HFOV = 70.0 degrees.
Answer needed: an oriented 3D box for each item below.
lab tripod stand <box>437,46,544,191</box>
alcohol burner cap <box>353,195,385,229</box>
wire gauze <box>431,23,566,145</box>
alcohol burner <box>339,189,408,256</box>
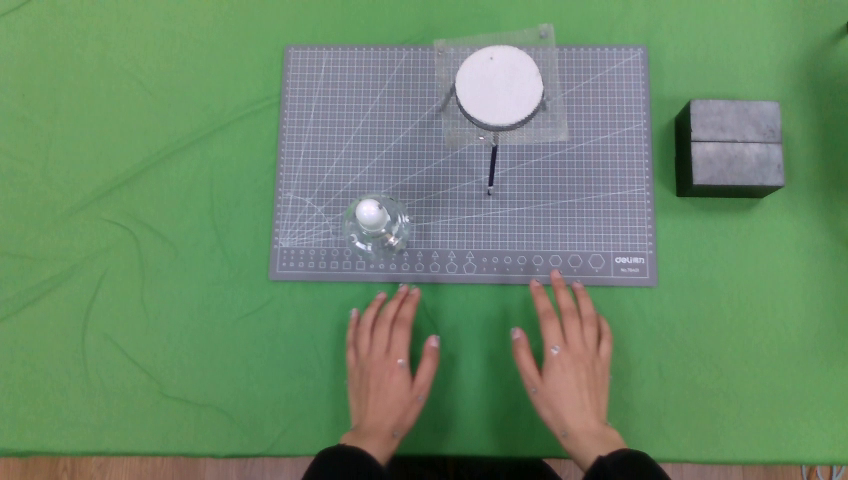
[{"bbox_3d":[0.078,-0.144,0.668,0.148,0.132,0.147,0,77,2],"label":"lab tripod stand"},{"bbox_3d":[-0.059,-0.031,0.625,0.034,0.048,0.034,0,82,1],"label":"alcohol burner cap"},{"bbox_3d":[0.073,-0.154,0.602,0.125,0.011,0.121,-5,79,0],"label":"wire gauze"},{"bbox_3d":[-0.056,-0.023,0.660,0.078,0.119,0.077,0,78,1],"label":"alcohol burner"}]
